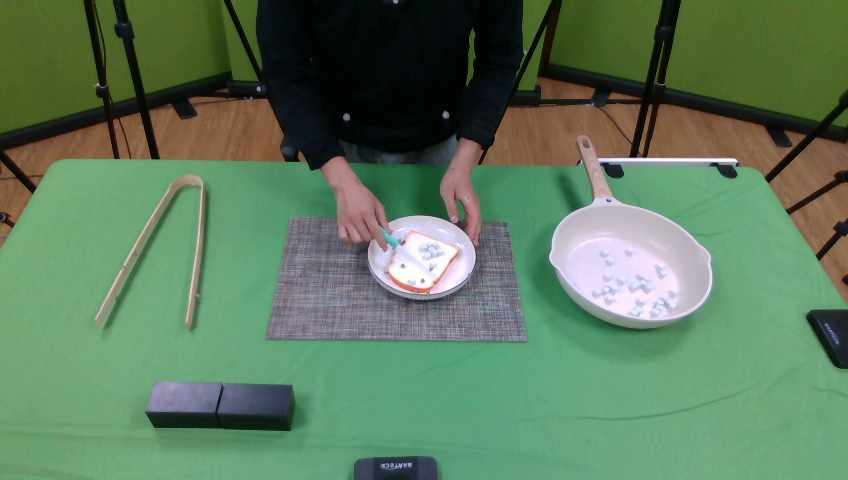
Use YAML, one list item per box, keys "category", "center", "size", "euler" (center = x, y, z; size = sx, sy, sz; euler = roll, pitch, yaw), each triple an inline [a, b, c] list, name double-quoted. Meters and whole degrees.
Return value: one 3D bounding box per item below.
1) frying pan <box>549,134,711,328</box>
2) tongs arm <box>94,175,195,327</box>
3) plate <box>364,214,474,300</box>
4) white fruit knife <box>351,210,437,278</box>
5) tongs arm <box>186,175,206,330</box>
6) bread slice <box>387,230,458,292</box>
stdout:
- category: "frying pan"
  center: [0.372, -0.035, 1.203]
  size: [0.307, 0.103, 0.484]
  euler: [-1, 55, -6]
- category: "tongs arm"
  center: [-0.515, 0.006, 1.142]
  size: [0.051, 0.026, 0.382]
  euler: [5, 45, -2]
- category: "plate"
  center: [-0.010, 0.036, 1.147]
  size: [0.208, 0.039, 0.206]
  euler: [2, 46, -2]
- category: "white fruit knife"
  center: [-0.055, 0.006, 1.125]
  size: [0.207, 0.027, 0.016]
  euler: [38, 51, 13]
- category: "tongs arm"
  center: [-0.436, 0.009, 1.151]
  size: [0.028, 0.028, 0.385]
  euler: [-7, 47, -8]
- category: "bread slice"
  center: [-0.007, 0.043, 1.142]
  size: [0.107, 0.018, 0.134]
  euler: [18, 46, 14]
